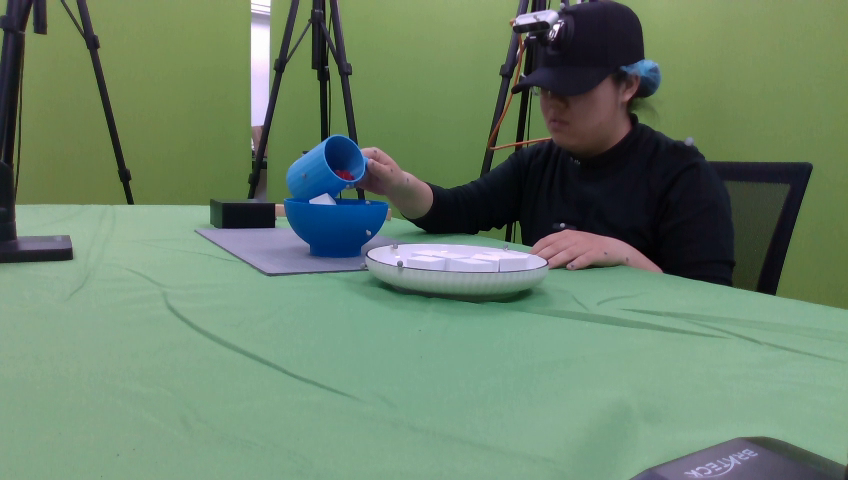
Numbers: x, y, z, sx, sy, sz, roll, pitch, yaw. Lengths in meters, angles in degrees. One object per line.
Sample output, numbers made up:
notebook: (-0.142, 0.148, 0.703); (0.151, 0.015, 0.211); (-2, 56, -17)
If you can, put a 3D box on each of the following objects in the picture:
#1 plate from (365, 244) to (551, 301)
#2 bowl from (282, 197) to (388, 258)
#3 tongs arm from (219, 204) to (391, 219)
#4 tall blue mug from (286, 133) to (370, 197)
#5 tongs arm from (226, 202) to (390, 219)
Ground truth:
plate: (0.038, 0.036, 0.685); (0.209, 0.038, 0.209); (2, 7, 0)
bowl: (-0.127, -0.018, 0.868); (0.151, 0.077, 0.151); (3, 7, 0)
tongs arm: (-0.258, -0.064, 1.367); (0.386, 0.026, 0.050); (1, 3, -17)
tall blue mug: (-0.145, -0.114, 0.940); (0.107, 0.078, 0.107); (-26, 18, 44)
tongs arm: (-0.275, -0.071, 1.446); (0.388, 0.027, 0.028); (2, -1, -4)
